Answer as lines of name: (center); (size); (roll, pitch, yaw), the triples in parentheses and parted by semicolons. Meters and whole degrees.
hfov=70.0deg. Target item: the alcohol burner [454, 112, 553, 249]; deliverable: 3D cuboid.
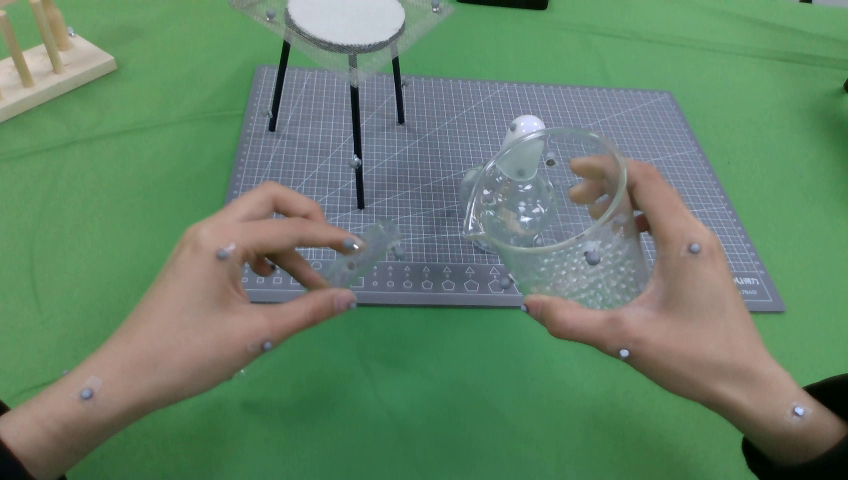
alcohol burner: (0.064, -0.049, 0.463); (0.078, 0.120, 0.077); (5, 47, -6)

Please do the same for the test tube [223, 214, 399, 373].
test tube: (-0.069, 0.035, 0.341); (0.017, 0.150, 0.017); (37, 30, -25)

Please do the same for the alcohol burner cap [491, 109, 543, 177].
alcohol burner cap: (0.069, -0.072, 0.436); (0.034, 0.048, 0.033); (4, 53, -5)

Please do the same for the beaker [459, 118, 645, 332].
beaker: (0.072, -0.001, 0.319); (0.084, 0.101, 0.073); (-27, 48, 9)

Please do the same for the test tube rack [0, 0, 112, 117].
test tube rack: (-0.396, -0.145, 0.500); (0.066, 0.086, 0.242); (32, 52, 18)

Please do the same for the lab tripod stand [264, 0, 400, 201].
lab tripod stand: (-0.067, -0.127, 0.498); (0.148, 0.132, 0.147); (5, 49, -6)

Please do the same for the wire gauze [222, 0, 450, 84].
wire gauze: (-0.062, -0.171, 0.447); (0.124, 0.011, 0.121); (33, 53, 17)
